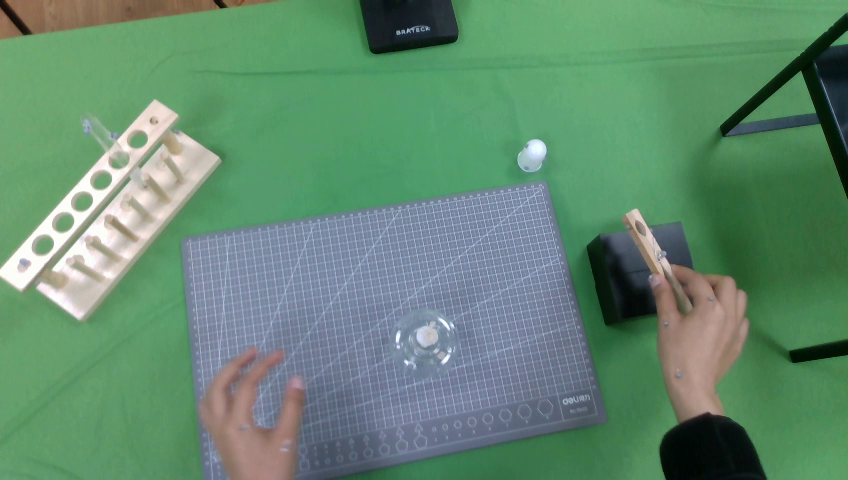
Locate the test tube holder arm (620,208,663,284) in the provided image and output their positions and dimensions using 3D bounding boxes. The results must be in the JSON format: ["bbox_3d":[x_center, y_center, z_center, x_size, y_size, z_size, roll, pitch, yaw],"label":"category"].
[{"bbox_3d":[0.238,0.007,0.657,0.010,0.015,0.087,-25,81,-5],"label":"test tube holder arm"}]

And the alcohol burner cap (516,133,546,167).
[{"bbox_3d":[0.135,-0.114,0.755,0.034,0.048,0.033,1,74,-4],"label":"alcohol burner cap"}]

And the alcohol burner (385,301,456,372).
[{"bbox_3d":[-0.002,0.101,0.649,0.078,0.119,0.077,1,73,-4],"label":"alcohol burner"}]

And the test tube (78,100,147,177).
[{"bbox_3d":[-0.327,-0.103,0.645,0.017,0.151,0.017,1,71,-4],"label":"test tube"}]

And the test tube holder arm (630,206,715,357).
[{"bbox_3d":[0.263,0.044,0.650,0.013,0.015,0.177,-27,81,-5],"label":"test tube holder arm"}]

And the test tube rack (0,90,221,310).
[{"bbox_3d":[-0.343,-0.043,0.680,0.066,0.085,0.242,34,76,6],"label":"test tube rack"}]
